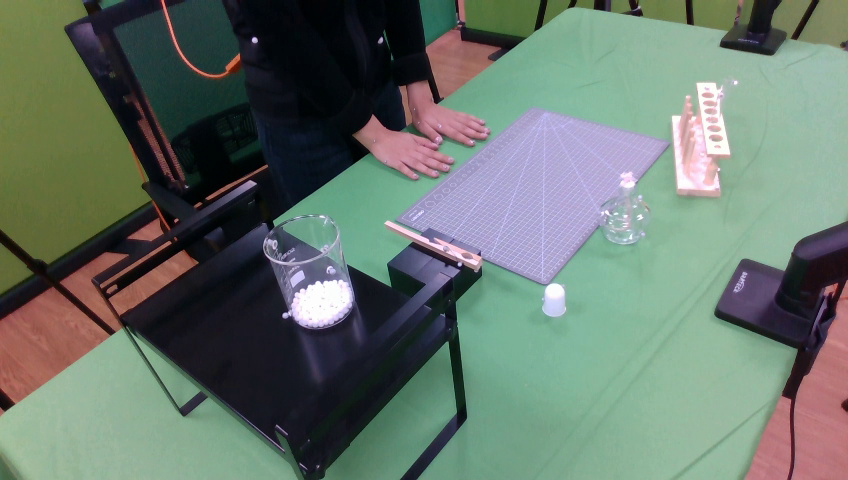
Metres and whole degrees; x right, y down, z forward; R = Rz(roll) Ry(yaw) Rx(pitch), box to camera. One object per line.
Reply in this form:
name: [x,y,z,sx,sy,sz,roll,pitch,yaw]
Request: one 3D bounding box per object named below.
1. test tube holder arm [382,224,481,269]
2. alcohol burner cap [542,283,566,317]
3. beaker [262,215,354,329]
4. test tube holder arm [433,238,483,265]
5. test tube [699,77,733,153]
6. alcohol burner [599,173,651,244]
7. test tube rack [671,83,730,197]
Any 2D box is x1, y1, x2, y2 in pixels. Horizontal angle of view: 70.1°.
test tube holder arm: [0.007,0.007,0.896,0.177,0.015,0.013,19,50,30]
alcohol burner cap: [0.181,0.081,0.839,0.034,0.048,0.033,-4,40,4]
beaker: [-0.112,0.034,0.616,0.073,0.101,0.084,13,44,23]
test tube holder arm: [0.047,0.017,0.876,0.087,0.015,0.010,21,50,31]
test tube: [0.489,-0.207,1.017,0.017,0.151,0.017,-2,48,3]
alcohol burner: [0.307,-0.052,0.920,0.078,0.119,0.077,-6,42,6]
test tube rack: [0.482,-0.184,1.067,0.066,0.085,0.242,5,42,15]
